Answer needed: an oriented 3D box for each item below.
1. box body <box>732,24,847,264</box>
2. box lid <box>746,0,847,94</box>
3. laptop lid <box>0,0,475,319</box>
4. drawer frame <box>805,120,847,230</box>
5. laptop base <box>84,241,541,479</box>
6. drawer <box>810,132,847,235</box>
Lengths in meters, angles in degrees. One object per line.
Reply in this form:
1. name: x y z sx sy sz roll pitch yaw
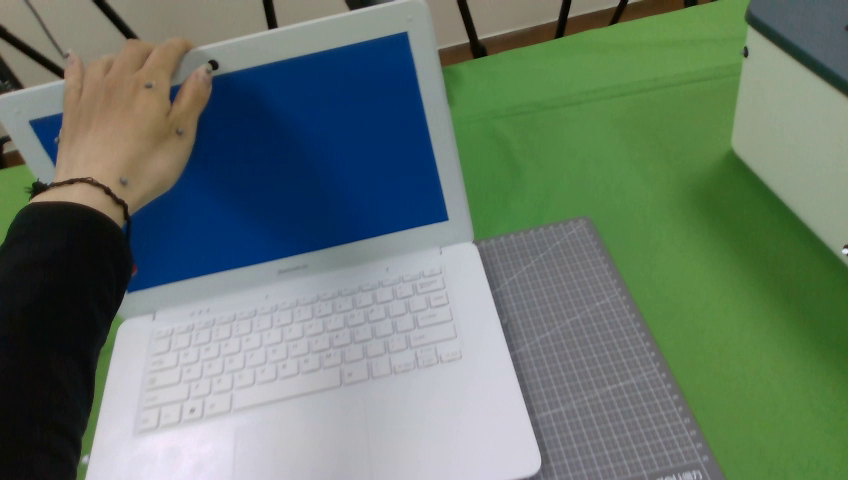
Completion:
1. box body: 0.451 -0.070 0.468 0.254 0.162 0.360 -16 46 -3
2. box lid: 0.439 -0.120 0.414 0.263 0.015 0.367 -17 45 -2
3. laptop lid: -0.144 -0.056 0.531 0.357 0.244 0.013 -14 31 1
4. drawer frame: 0.456 -0.022 0.463 0.202 0.083 0.211 -13 43 -1
5. laptop base: -0.103 0.126 0.510 0.354 0.023 0.233 -13 49 0
6. drawer: 0.455 -0.018 0.467 0.194 0.074 0.209 -15 47 2
